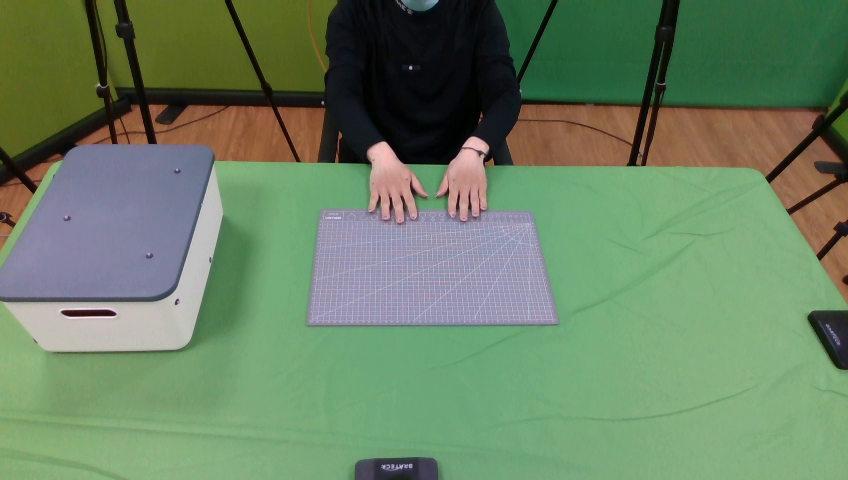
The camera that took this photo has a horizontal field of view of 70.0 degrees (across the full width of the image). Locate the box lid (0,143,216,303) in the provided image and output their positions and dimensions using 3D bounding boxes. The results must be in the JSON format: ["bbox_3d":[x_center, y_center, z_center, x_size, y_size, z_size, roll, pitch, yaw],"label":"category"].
[{"bbox_3d":[-0.506,-0.045,1.002,0.263,0.015,0.369,0,46,-5],"label":"box lid"}]

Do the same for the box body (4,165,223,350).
[{"bbox_3d":[-0.510,0.008,1.054,0.254,0.161,0.361,-1,46,-5],"label":"box body"}]
